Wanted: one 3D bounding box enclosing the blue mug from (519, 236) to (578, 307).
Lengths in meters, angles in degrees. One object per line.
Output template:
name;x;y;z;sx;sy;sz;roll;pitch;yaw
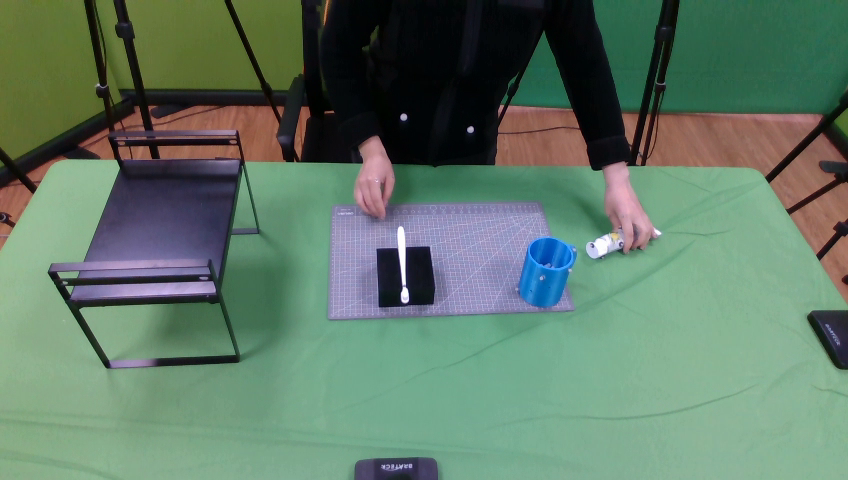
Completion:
blue mug;0.234;0.052;1.102;0.116;0.106;0.082;-23;52;-24

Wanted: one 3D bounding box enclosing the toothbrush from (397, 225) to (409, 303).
toothbrush;-0.038;0.038;1.090;0.014;0.017;0.180;-5;46;-1

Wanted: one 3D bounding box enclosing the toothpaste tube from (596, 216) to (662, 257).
toothpaste tube;0.406;-0.006;1.223;0.165;0.034;0.055;-22;59;-24

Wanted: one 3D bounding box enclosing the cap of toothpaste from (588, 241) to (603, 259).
cap of toothpaste;0.338;0.019;1.192;0.011;0.037;0.037;-22;51;-24
